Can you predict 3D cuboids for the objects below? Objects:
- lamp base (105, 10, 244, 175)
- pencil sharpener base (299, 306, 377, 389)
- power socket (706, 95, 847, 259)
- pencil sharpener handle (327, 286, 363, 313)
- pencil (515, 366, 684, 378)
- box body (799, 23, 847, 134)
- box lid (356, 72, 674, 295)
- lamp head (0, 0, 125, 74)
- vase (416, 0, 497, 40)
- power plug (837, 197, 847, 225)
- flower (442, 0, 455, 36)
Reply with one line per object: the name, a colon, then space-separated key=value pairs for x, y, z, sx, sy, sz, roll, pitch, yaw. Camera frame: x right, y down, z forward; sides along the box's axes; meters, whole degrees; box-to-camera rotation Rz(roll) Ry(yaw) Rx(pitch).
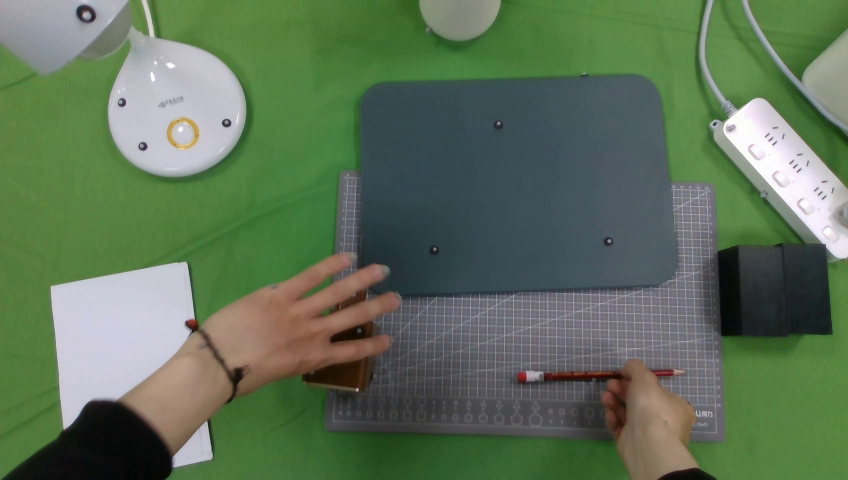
lamp base: x=-0.300 y=-0.178 z=0.645 sx=0.160 sy=0.181 sz=0.178 roll=-29 pitch=80 yaw=-6
pencil sharpener base: x=-0.086 y=0.112 z=0.637 sx=0.061 sy=0.107 sz=0.076 roll=8 pitch=80 yaw=1
power socket: x=0.435 y=-0.076 z=0.719 sx=0.072 sy=0.033 sz=0.226 roll=-38 pitch=83 yaw=-7
pencil sharpener handle: x=-0.077 y=0.060 z=0.633 sx=0.036 sy=0.068 sz=0.030 roll=6 pitch=79 yaw=8
pencil: x=0.199 y=0.148 z=0.684 sx=0.194 sy=0.012 sz=0.012 roll=-1 pitch=80 yaw=-2
box body: x=0.653 y=-0.163 z=0.672 sx=0.254 sy=0.161 sz=0.363 roll=-42 pitch=84 yaw=-7
box lid: x=0.107 y=-0.071 z=0.721 sx=0.372 sy=0.015 sz=0.262 roll=-2 pitch=81 yaw=-1
lamp head: x=-0.256 y=-0.184 z=0.368 sx=0.112 sy=0.124 sz=0.111 roll=-22 pitch=47 yaw=26
vase: x=0.041 y=-0.306 z=0.664 sx=0.098 sy=0.200 sz=0.098 roll=0 pitch=79 yaw=-2
power plug: x=0.506 y=-0.042 z=0.692 sx=0.072 sy=0.053 sz=0.035 roll=-28 pitch=80 yaw=-10
flower: x=0.052 y=-0.334 z=0.586 sx=0.044 sy=0.363 sz=0.038 roll=-25 pitch=70 yaw=-20
